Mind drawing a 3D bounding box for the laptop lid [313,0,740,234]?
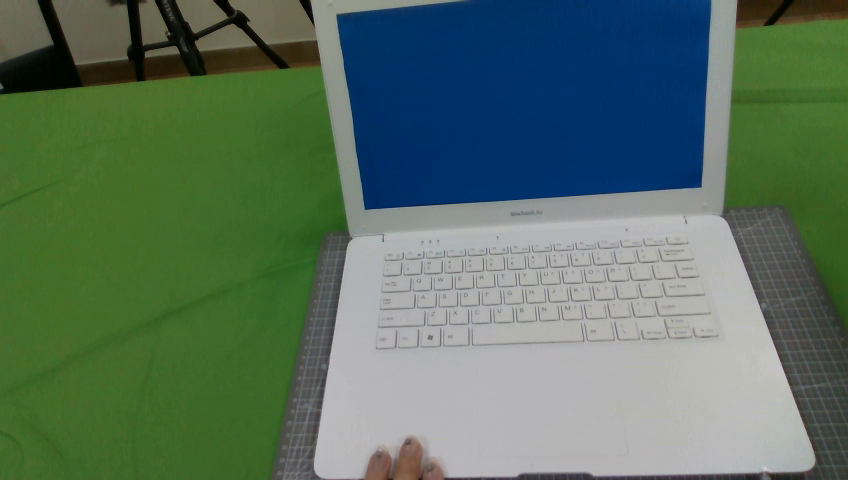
[{"bbox_3d":[0.088,-0.119,0.537,0.356,0.243,0.013,-5,21,7],"label":"laptop lid"}]

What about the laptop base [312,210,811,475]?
[{"bbox_3d":[0.095,0.077,0.505,0.354,0.023,0.233,-3,52,7],"label":"laptop base"}]
